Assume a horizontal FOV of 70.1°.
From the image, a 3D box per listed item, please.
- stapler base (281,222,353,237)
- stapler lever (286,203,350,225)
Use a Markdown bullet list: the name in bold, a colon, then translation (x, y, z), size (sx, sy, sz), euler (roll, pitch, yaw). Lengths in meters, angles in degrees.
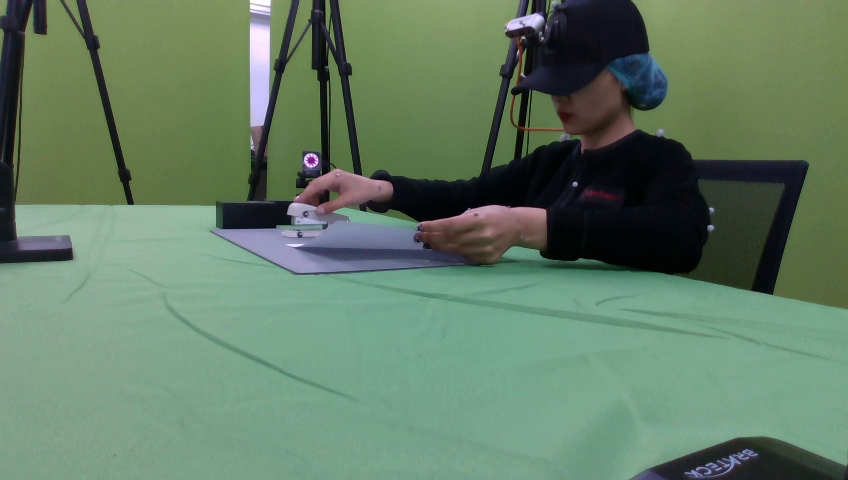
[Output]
- **stapler base**: translation (-0.190, -0.021, 1.077), size (0.131, 0.024, 0.041), euler (-1, 10, -40)
- **stapler lever**: translation (-0.188, -0.046, 1.076), size (0.119, 0.040, 0.026), euler (-1, 10, -40)
